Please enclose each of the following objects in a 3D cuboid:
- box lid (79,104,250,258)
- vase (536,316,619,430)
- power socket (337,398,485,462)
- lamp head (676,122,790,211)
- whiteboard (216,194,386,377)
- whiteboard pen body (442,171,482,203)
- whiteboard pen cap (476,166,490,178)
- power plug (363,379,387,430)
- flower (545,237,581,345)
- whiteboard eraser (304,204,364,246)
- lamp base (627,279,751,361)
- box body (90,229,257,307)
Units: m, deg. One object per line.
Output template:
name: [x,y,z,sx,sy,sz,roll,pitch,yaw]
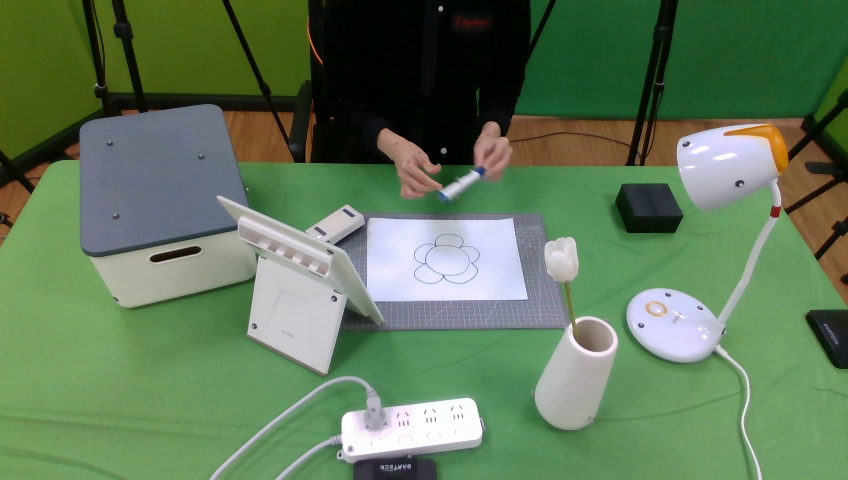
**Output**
box lid: [-0.467,-0.120,1.075,0.264,0.015,0.369,-13,49,-17]
vase: [0.229,0.200,0.901,0.098,0.201,0.097,3,46,-3]
power socket: [-0.018,0.285,0.914,0.227,0.033,0.071,-4,46,-8]
lamp head: [0.423,-0.104,0.819,0.122,0.113,0.112,-13,33,40]
whiteboard: [-0.212,0.093,0.939,0.216,0.307,0.143,24,70,17]
whiteboard pen body: [0.075,-0.099,1.088,0.017,0.017,0.140,30,42,22]
whiteboard pen cap: [0.108,-0.125,1.130,0.018,0.018,0.033,30,44,22]
power plug: [-0.072,0.252,0.911,0.035,0.053,0.072,3,40,0]
flower: [0.213,0.137,0.846,0.038,0.364,0.044,21,55,40]
whiteboard eraser: [-0.175,-0.022,1.188,0.055,0.042,0.112,36,53,26]
lamp base: [0.460,0.100,1.027,0.178,0.181,0.160,27,51,17]
box body: [-0.471,-0.070,1.131,0.254,0.161,0.361,-14,49,-17]
